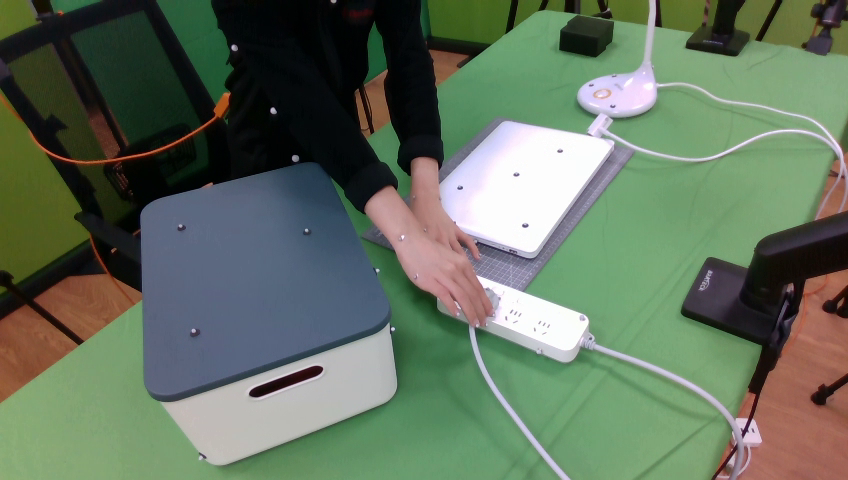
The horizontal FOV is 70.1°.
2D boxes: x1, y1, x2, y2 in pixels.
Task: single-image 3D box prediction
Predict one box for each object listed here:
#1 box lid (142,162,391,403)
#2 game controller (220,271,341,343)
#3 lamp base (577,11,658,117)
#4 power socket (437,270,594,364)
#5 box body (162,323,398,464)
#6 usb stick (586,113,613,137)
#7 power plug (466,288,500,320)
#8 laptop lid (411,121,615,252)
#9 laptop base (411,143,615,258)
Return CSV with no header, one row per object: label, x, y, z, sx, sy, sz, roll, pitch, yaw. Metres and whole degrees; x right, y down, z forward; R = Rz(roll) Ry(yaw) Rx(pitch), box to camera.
box lid,-0.212,0.025,0.752,0.264,0.015,0.368,-17,41,-13
game controller,-0.185,0.077,0.778,0.155,0.052,0.096,-8,46,-2
lamp base,0.407,-0.365,1.223,0.180,0.181,0.159,-20,42,-18
power socket,0.118,0.102,0.830,0.225,0.033,0.072,20,48,28
box body,-0.205,0.080,0.802,0.255,0.161,0.361,-18,41,-12
usb stick,0.329,-0.210,1.149,0.022,0.059,0.027,30,19,-26
power plug,0.072,0.093,0.813,0.073,0.053,0.035,-36,48,-28
laptop lid,0.164,-0.112,1.068,0.240,0.013,0.357,19,46,31
laptop base,0.167,-0.102,1.074,0.234,0.023,0.355,16,45,30
